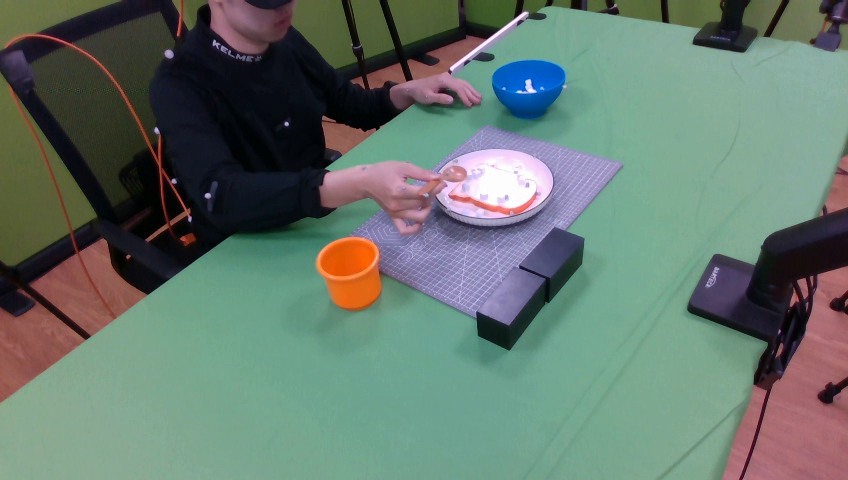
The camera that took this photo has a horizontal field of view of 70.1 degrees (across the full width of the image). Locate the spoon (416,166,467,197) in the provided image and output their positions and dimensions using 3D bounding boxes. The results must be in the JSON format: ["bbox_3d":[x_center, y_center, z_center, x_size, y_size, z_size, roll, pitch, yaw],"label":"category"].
[{"bbox_3d":[0.024,-0.094,0.947,0.041,0.021,0.194,23,20,14],"label":"spoon"}]

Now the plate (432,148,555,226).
[{"bbox_3d":[0.119,-0.087,1.037,0.209,0.038,0.208,-4,40,4],"label":"plate"}]

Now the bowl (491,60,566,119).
[{"bbox_3d":[0.215,-0.302,1.248,0.151,0.077,0.150,-4,40,4],"label":"bowl"}]

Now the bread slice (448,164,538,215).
[{"bbox_3d":[0.126,-0.085,1.037,0.133,0.018,0.107,17,45,27],"label":"bread slice"}]
